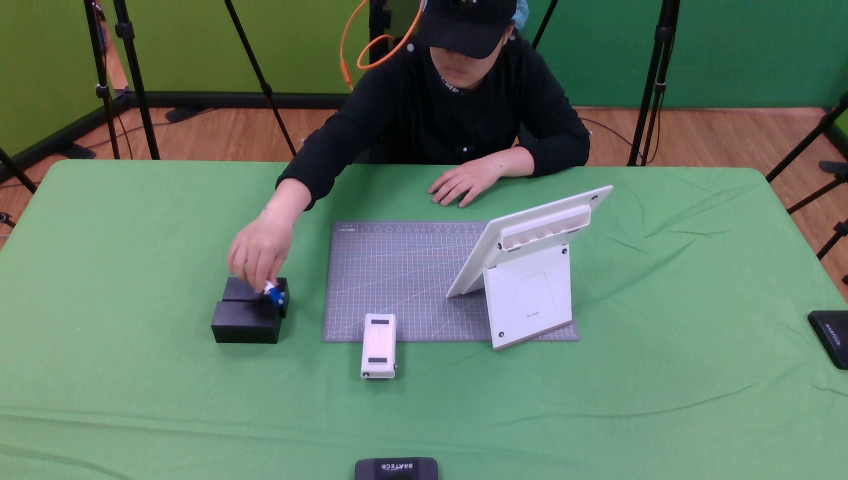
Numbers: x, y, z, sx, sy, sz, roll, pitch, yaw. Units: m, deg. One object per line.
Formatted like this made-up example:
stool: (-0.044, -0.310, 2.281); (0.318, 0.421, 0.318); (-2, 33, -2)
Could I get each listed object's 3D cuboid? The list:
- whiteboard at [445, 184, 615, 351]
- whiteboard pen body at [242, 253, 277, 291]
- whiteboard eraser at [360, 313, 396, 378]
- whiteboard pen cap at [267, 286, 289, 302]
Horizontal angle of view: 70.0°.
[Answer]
whiteboard: (0.186, 0.065, 0.989); (0.217, 0.306, 0.143); (-15, 68, -18)
whiteboard pen body: (-0.270, 0.060, 1.009); (0.017, 0.017, 0.140); (-26, 43, -26)
whiteboard eraser: (-0.075, 0.176, 1.006); (0.055, 0.042, 0.112); (3, 50, -4)
whiteboard pen cap: (-0.233, 0.088, 0.968); (0.033, 0.018, 0.018); (21, 47, 0)
